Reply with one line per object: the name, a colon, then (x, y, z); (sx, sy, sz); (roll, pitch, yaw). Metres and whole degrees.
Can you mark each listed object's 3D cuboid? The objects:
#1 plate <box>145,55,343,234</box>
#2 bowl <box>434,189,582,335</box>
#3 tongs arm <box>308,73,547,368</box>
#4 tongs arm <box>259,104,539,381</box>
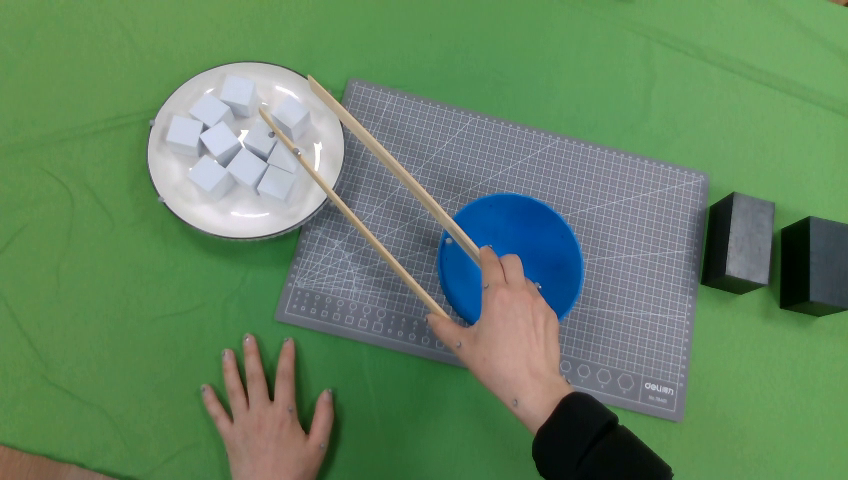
plate: (-0.192, -0.102, 0.664); (0.208, 0.039, 0.206); (2, 74, -5)
bowl: (0.081, 0.030, 0.637); (0.152, 0.077, 0.150); (2, 75, -7)
tongs arm: (-0.007, -0.034, 0.592); (0.028, 0.028, 0.384); (-34, 70, -19)
tongs arm: (-0.036, -0.012, 0.582); (0.051, 0.027, 0.382); (-35, 70, -15)
